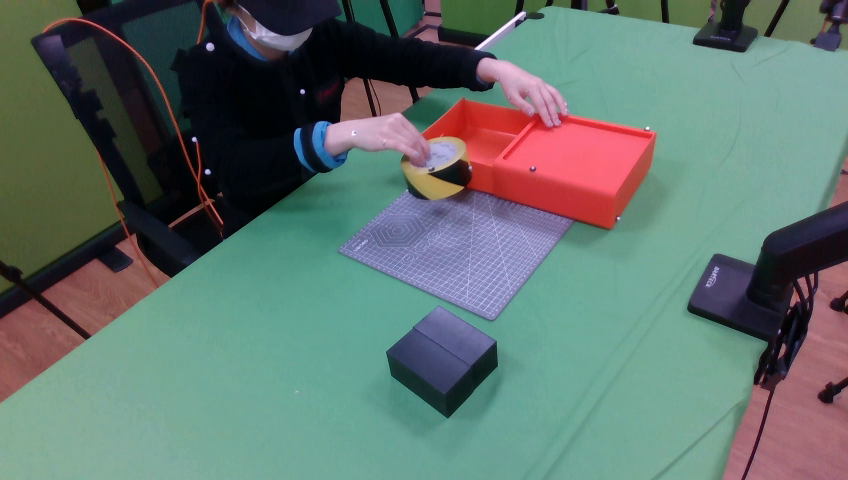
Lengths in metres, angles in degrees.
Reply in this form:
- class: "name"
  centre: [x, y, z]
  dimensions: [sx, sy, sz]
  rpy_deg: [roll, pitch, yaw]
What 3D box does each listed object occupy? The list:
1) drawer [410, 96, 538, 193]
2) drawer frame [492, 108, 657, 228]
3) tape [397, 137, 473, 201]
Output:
- class: "drawer"
  centre: [0.114, -0.177, 1.114]
  dimensions: [0.210, 0.073, 0.195]
  rpy_deg: [19, 46, 29]
- class: "drawer frame"
  centre: [0.255, -0.130, 1.032]
  dimensions: [0.212, 0.083, 0.202]
  rpy_deg: [19, 47, 27]
- class: "tape"
  centre: [0.017, -0.115, 0.978]
  dimensions: [0.116, 0.053, 0.116]
  rpy_deg: [-12, 35, 9]
